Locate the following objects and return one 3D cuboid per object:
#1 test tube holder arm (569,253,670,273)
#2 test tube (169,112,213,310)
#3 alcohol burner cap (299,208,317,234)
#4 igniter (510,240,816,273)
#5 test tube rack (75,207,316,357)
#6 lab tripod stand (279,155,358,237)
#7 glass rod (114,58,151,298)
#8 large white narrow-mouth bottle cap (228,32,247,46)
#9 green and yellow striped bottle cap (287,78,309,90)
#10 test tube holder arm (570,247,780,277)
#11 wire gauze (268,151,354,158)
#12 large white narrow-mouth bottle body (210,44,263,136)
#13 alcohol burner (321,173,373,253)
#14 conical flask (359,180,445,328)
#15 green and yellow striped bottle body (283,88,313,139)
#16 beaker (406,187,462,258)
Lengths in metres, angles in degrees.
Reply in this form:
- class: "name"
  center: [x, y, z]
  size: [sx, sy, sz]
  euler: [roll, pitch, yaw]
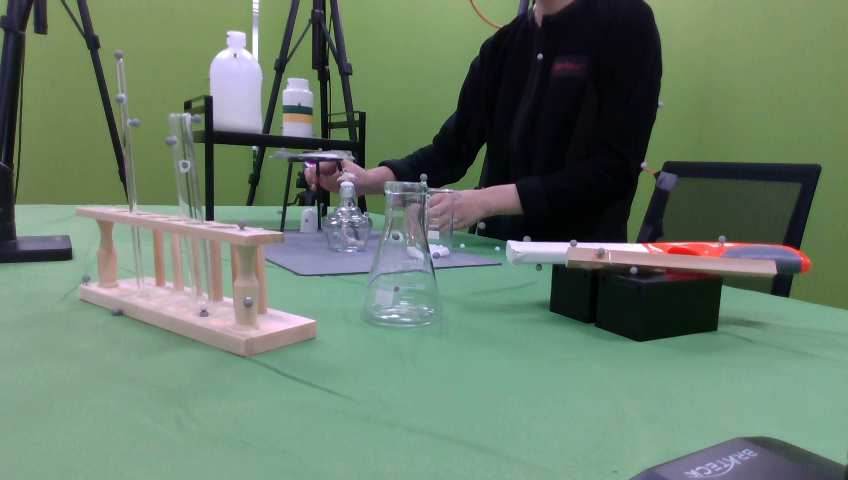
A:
- class: "test tube holder arm"
  center: [0.172, 0.019, 0.532]
  size: [0.088, 0.015, 0.010]
  euler: [3, -23, 3]
- class: "test tube"
  center: [-0.175, -0.020, 0.455]
  size: [0.017, 0.150, 0.017]
  euler: [-3, 9, 1]
- class: "alcohol burner cap"
  center: [-0.213, -0.035, 1.110]
  size: [0.034, 0.048, 0.034]
  euler: [2, 7, 0]
- class: "igniter"
  center: [0.220, 0.015, 0.565]
  size: [0.277, 0.025, 0.057]
  euler: [2, 16, 0]
- class: "test tube rack"
  center: [-0.196, 0.023, 0.500]
  size: [0.241, 0.085, 0.067]
  euler: [8, 9, 36]
- class: "lab tripod stand"
  center: [-0.177, -0.071, 0.988]
  size: [0.148, 0.131, 0.148]
  euler: [-3, 9, 1]
- class: "glass rod"
  center: [-0.236, -0.044, 0.492]
  size: [0.008, 0.199, 0.008]
  euler: [0, 15, 0]
- class: "large white narrow-mouth bottle cap"
  center: [-0.364, -0.391, 1.181]
  size: [0.038, 0.024, 0.037]
  euler: [3, 8, 0]
- class: "green and yellow striped bottle cap"
  center: [-0.265, -0.326, 1.268]
  size: [0.045, 0.020, 0.045]
  euler: [4, 6, 0]
- class: "test tube holder arm"
  center: [0.217, 0.019, 0.525]
  size: [0.178, 0.015, 0.013]
  euler: [3, -23, 3]
- class: "wire gauze"
  center: [-0.185, -0.138, 0.979]
  size: [0.125, 0.011, 0.121]
  euler: [-3, 9, -17]
- class: "large white narrow-mouth bottle body"
  center: [-0.369, -0.306, 1.194]
  size: [0.102, 0.194, 0.102]
  euler: [3, 8, 0]
- class: "alcohol burner"
  center: [-0.115, -0.041, 0.905]
  size: [0.078, 0.119, 0.078]
  euler: [1, 6, 0]
- class: "conical flask"
  center: [-0.017, 0.010, 0.522]
  size: [0.075, 0.122, 0.075]
  euler: [2, 7, 0]
- class: "green and yellow striped bottle body"
  center: [-0.266, -0.275, 1.275]
  size: [0.063, 0.119, 0.063]
  euler: [3, 7, 0]
- class: "beaker"
  center: [0.013, -0.026, 0.893]
  size: [0.084, 0.100, 0.074]
  euler: [3, 8, -2]
